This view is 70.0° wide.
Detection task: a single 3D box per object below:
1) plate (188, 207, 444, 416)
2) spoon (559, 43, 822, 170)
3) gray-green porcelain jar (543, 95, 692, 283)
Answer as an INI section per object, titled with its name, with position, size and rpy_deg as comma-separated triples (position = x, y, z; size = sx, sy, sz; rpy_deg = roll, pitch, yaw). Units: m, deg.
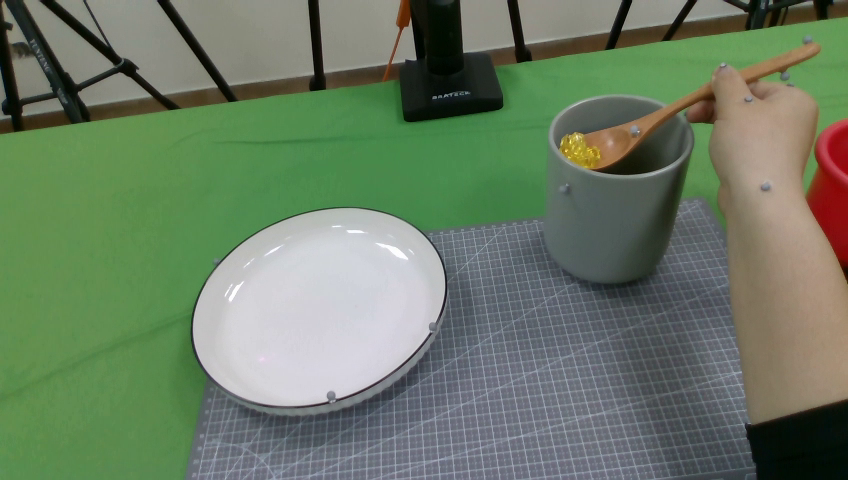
[plate]
position = -0.086, 0.056, 0.503
size = 0.207, 0.039, 0.205
rpy_deg = -4, 45, 4
[spoon]
position = 0.191, -0.097, 0.441
size = 0.193, 0.022, 0.041
rpy_deg = -26, 41, 14
[gray-green porcelain jar]
position = 0.151, -0.036, 0.495
size = 0.106, 0.128, 0.105
rpy_deg = -4, 46, 5
